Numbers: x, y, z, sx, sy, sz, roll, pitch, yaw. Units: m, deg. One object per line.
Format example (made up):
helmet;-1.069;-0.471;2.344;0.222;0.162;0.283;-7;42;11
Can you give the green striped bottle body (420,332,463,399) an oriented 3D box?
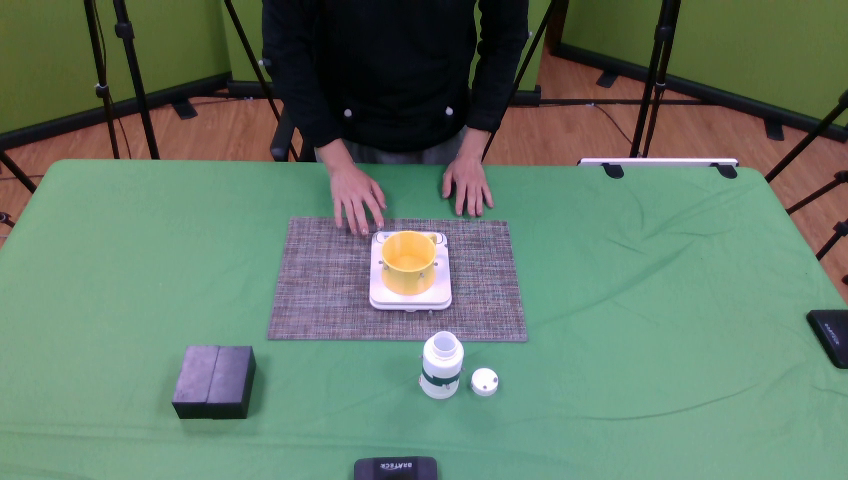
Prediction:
green striped bottle body;0.027;0.193;0.947;0.063;0.120;0.063;2;47;-2

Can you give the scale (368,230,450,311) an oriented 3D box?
scale;-0.029;0.048;1.137;0.149;0.032;0.199;1;46;-4

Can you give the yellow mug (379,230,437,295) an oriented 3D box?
yellow mug;-0.020;0.030;1.089;0.099;0.064;0.130;31;51;24

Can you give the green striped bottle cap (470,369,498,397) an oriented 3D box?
green striped bottle cap;0.098;0.232;0.989;0.044;0.020;0.044;2;41;-1
